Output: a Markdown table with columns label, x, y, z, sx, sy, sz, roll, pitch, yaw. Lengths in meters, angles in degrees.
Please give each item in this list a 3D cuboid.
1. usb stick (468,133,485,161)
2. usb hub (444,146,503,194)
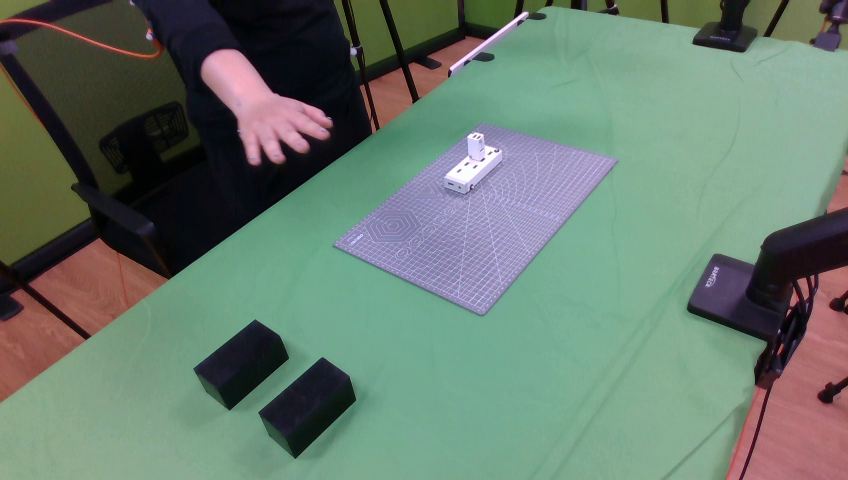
| label | x | y | z | sx | sy | sz | roll | pitch | yaw |
| --- | --- | --- | --- | --- | --- | --- | --- | --- | --- |
| usb stick | 0.095 | -0.162 | 1.096 | 0.027 | 0.059 | 0.021 | 21 | 48 | 26 |
| usb hub | 0.091 | -0.129 | 1.102 | 0.049 | 0.025 | 0.125 | 23 | 49 | 30 |
